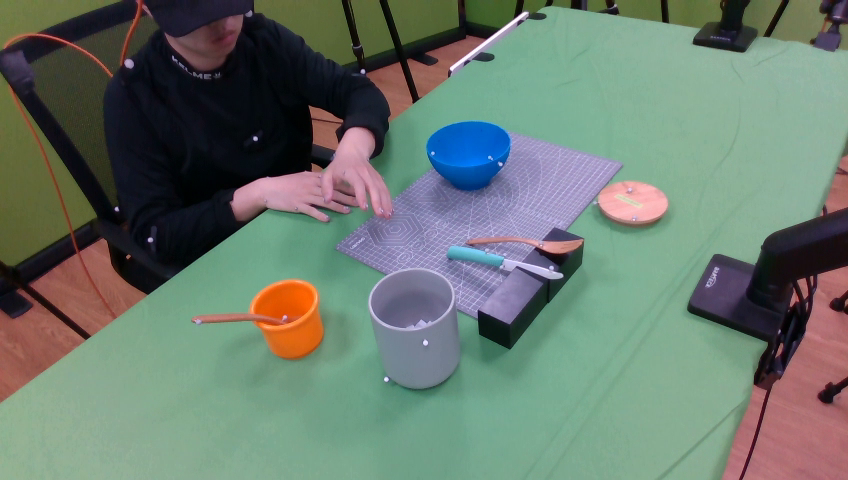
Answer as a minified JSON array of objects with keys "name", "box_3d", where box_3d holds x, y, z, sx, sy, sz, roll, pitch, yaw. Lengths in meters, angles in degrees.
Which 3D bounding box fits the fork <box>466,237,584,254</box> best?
[{"name":"fork","box_3d":[0.142,0.005,0.894,0.205,0.019,0.028,4,43,41]}]

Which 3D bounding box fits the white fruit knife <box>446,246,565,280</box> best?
[{"name":"white fruit knife","box_3d":[0.111,0.033,0.868,0.205,0.027,0.016,11,44,40]}]

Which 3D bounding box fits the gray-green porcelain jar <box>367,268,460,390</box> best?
[{"name":"gray-green porcelain jar","box_3d":[-0.009,0.116,0.754,0.106,0.127,0.105,-4,41,4]}]

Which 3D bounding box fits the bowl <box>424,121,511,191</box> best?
[{"name":"bowl","box_3d":[0.081,-0.141,1.074,0.151,0.077,0.150,-4,41,4]}]

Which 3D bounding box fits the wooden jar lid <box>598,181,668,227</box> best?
[{"name":"wooden jar lid","box_3d":[0.340,-0.058,0.989,0.108,0.021,0.108,-5,41,5]}]

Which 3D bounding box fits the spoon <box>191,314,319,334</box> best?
[{"name":"spoon","box_3d":[-0.212,0.105,0.780,0.041,0.195,0.021,30,97,37]}]
